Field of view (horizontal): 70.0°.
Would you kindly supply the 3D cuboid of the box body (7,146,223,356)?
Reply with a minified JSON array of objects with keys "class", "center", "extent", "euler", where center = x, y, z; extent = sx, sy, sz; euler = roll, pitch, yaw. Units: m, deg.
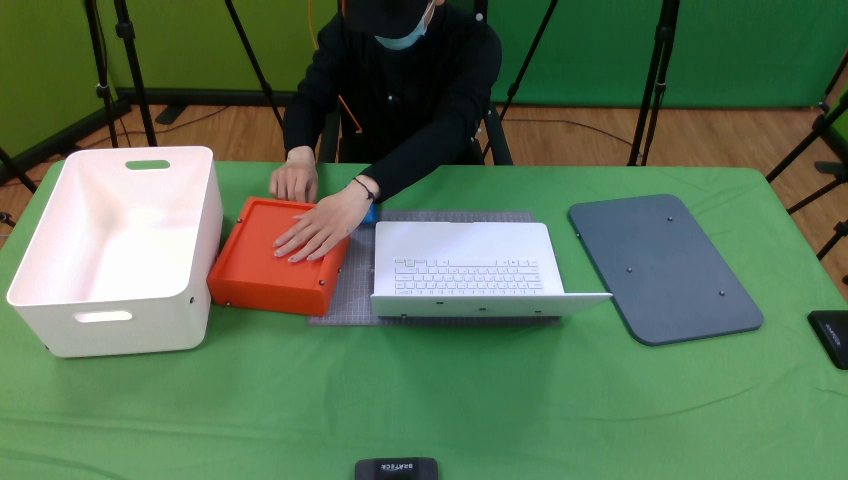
[{"class":"box body","center":[-0.499,0.012,1.051],"extent":[0.254,0.161,0.361],"euler":[-3,47,-7]}]

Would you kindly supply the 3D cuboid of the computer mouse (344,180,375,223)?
[{"class":"computer mouse","center":[-0.135,-0.083,1.253],"extent":[0.063,0.041,0.116],"euler":[1,47,-8]}]

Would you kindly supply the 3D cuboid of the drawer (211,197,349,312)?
[{"class":"drawer","center":[-0.256,0.023,1.115],"extent":[0.194,0.073,0.210],"euler":[7,47,3]}]

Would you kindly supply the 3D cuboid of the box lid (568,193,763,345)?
[{"class":"box lid","center":[0.464,0.040,1.203],"extent":[0.264,0.015,0.369],"euler":[-7,47,-11]}]

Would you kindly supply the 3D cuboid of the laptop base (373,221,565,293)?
[{"class":"laptop base","center":[0.080,0.049,1.158],"extent":[0.355,0.023,0.234],"euler":[0,43,-4]}]

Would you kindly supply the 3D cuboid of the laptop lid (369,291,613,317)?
[{"class":"laptop lid","center":[0.092,0.104,0.965],"extent":[0.357,0.242,0.013],"euler":[0,76,-5]}]

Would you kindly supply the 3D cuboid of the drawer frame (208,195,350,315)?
[{"class":"drawer frame","center":[-0.255,0.023,1.112],"extent":[0.202,0.083,0.212],"euler":[6,47,3]}]
